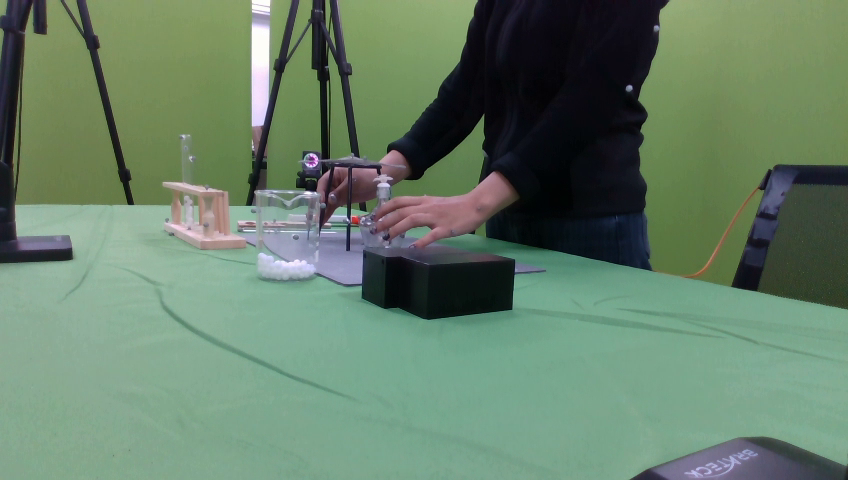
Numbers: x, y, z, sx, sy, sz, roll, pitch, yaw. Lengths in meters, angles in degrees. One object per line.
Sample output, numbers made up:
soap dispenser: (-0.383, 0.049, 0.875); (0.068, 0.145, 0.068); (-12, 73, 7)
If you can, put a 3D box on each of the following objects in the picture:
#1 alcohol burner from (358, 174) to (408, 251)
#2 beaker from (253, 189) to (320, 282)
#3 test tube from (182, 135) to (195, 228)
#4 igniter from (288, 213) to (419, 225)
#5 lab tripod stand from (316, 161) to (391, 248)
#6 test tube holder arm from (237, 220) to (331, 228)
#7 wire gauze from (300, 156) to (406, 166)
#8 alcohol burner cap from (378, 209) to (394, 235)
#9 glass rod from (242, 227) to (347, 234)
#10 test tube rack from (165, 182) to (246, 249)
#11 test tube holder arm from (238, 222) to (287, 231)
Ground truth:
alcohol burner: (-0.062, -0.042, 0.930); (0.078, 0.119, 0.078); (1, 10, 0)
beaker: (-0.156, -0.005, 0.689); (0.074, 0.100, 0.083); (0, 8, -14)
test tube: (-0.382, -0.095, 0.983); (0.017, 0.150, 0.017); (-1, 2, 0)
igniter: (-0.145, -0.044, 1.278); (0.278, 0.025, 0.057); (-1, -2, -22)
lab tripod stand: (-0.112, -0.059, 0.964); (0.148, 0.131, 0.148); (4, 9, 0)
test tube holder arm: (-0.261, -0.029, 1.141); (0.179, 0.015, 0.013); (-2, 43, -33)
wire gauze: (-0.114, -0.127, 0.967); (0.121, 0.011, 0.126); (10, 11, 38)
alcohol burner cap: (-0.072, -0.035, 1.145); (0.034, 0.048, 0.034); (2, 7, 0)
glass rod: (-0.232, -0.017, 1.110); (0.201, 0.008, 0.008); (2, 6, -30)
test tube rack: (-0.360, -0.044, 0.982); (0.067, 0.085, 0.241); (-3, 9, -34)
test tube holder arm: (-0.297, -0.024, 1.113); (0.088, 0.015, 0.010); (-2, 42, -33)
